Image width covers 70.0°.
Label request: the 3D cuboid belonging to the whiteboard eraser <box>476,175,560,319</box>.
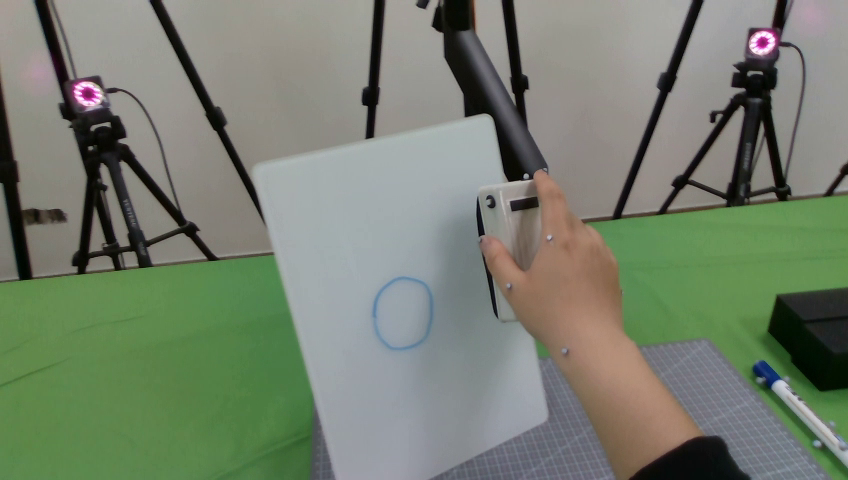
[{"bbox_3d":[0.075,0.005,0.497,0.056,0.113,0.041,-12,5,-31],"label":"whiteboard eraser"}]

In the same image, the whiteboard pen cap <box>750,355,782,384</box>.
[{"bbox_3d":[0.357,0.135,0.631,0.018,0.018,0.033,-7,28,-8],"label":"whiteboard pen cap"}]

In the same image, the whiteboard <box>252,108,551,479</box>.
[{"bbox_3d":[-0.030,0.052,0.579,0.218,0.306,0.143,-17,13,-23],"label":"whiteboard"}]

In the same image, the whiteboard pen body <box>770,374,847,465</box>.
[{"bbox_3d":[0.367,0.164,0.581,0.017,0.017,0.139,-7,29,-7],"label":"whiteboard pen body"}]
